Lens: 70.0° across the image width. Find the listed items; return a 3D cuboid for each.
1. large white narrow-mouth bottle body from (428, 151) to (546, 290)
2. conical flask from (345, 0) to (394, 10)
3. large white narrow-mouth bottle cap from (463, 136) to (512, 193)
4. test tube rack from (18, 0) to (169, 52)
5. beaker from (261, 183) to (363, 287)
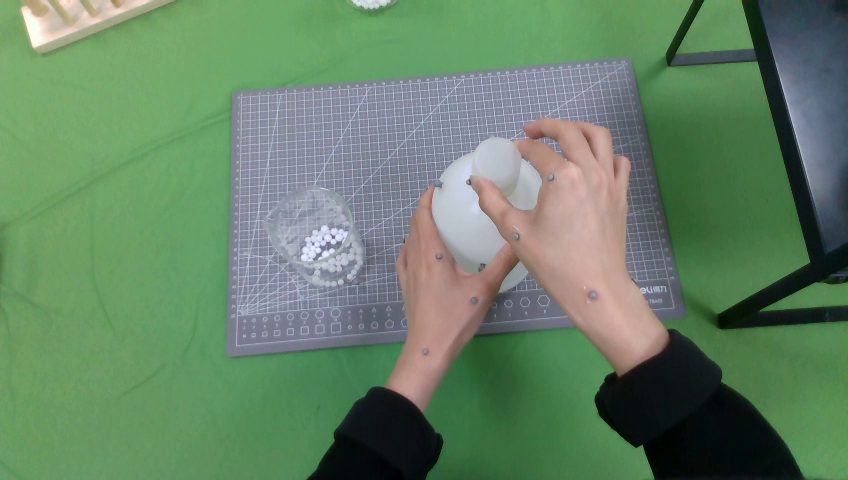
[{"bbox_3d":[0.054,-0.023,0.529,0.102,0.196,0.101,-1,72,4],"label":"large white narrow-mouth bottle body"},{"bbox_3d":[-0.066,-0.322,0.671,0.075,0.122,0.075,-1,71,2],"label":"conical flask"},{"bbox_3d":[0.045,-0.054,0.437,0.038,0.024,0.037,-1,73,4],"label":"large white narrow-mouth bottle cap"},{"bbox_3d":[-0.362,-0.312,0.696,0.242,0.086,0.066,-25,72,-6],"label":"test tube rack"},{"bbox_3d":[-0.101,0.000,0.575,0.084,0.101,0.073,6,71,5],"label":"beaker"}]
